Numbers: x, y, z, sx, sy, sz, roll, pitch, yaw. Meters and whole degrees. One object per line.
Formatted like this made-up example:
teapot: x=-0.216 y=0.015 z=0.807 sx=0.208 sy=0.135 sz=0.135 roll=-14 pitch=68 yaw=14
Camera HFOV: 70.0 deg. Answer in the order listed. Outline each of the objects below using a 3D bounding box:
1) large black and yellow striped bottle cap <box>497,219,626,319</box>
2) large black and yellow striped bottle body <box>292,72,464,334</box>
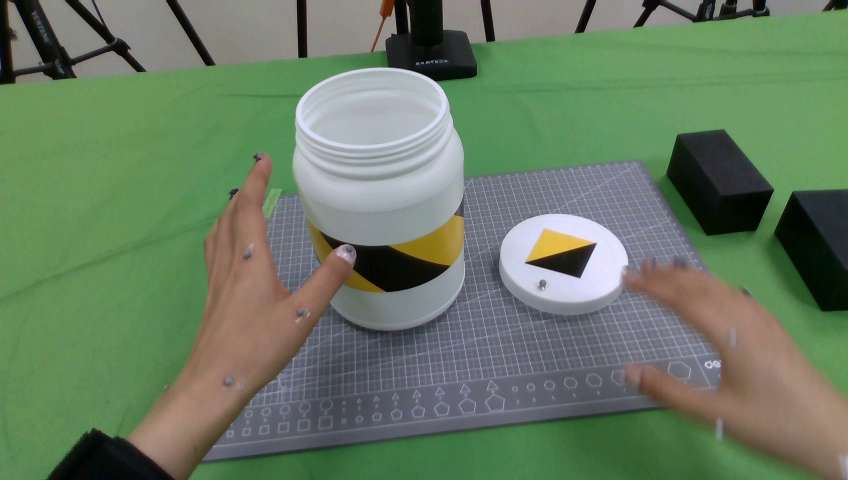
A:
large black and yellow striped bottle cap: x=0.124 y=0.023 z=0.552 sx=0.115 sy=0.019 sz=0.114 roll=-1 pitch=42 yaw=2
large black and yellow striped bottle body: x=-0.033 y=-0.028 z=0.491 sx=0.131 sy=0.186 sz=0.129 roll=-2 pitch=44 yaw=2
